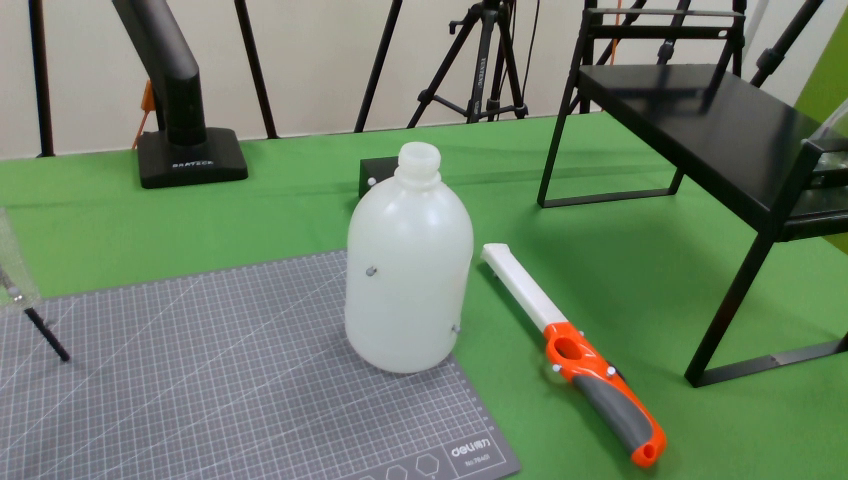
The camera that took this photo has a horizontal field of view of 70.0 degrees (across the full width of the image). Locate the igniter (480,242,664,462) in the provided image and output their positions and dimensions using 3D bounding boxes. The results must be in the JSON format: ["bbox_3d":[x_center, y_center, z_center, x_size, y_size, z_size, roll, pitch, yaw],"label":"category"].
[{"bbox_3d":[0.127,0.088,0.563,0.057,0.025,0.273,0,35,-28],"label":"igniter"}]

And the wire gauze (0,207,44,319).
[{"bbox_3d":[-0.306,0.026,0.359,0.122,0.011,0.124,-22,50,-32],"label":"wire gauze"}]

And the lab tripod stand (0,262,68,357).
[{"bbox_3d":[-0.308,0.079,0.397,0.148,0.132,0.147,7,36,-5],"label":"lab tripod stand"}]

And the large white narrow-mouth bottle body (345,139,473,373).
[{"bbox_3d":[-0.013,0.011,0.494,0.102,0.196,0.101,5,37,-3],"label":"large white narrow-mouth bottle body"}]

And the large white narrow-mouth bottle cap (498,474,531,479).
[{"bbox_3d":[0.063,0.186,0.424,0.038,0.024,0.037,5,36,-3],"label":"large white narrow-mouth bottle cap"}]

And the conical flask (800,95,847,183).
[{"bbox_3d":[0.370,-0.110,0.491,0.075,0.123,0.074,5,36,-3],"label":"conical flask"}]
